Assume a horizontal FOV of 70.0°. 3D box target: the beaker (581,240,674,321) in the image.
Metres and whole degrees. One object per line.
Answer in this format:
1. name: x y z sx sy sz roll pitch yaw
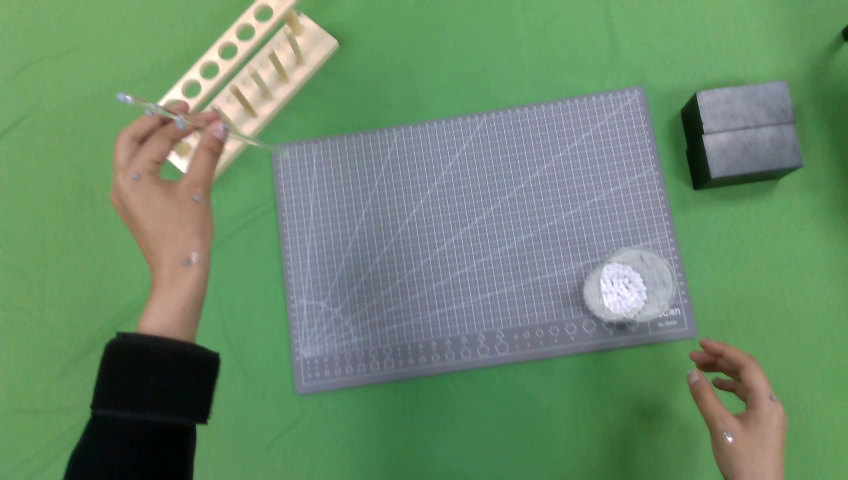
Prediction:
1. beaker: 0.205 0.050 0.632 0.073 0.100 0.084 43 85 10

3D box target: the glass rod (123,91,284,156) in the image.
1. glass rod: -0.167 -0.090 0.492 0.008 0.200 0.008 -1 87 17

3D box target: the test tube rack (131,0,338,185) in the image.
1. test tube rack: -0.212 -0.184 0.702 0.066 0.085 0.242 40 85 9
